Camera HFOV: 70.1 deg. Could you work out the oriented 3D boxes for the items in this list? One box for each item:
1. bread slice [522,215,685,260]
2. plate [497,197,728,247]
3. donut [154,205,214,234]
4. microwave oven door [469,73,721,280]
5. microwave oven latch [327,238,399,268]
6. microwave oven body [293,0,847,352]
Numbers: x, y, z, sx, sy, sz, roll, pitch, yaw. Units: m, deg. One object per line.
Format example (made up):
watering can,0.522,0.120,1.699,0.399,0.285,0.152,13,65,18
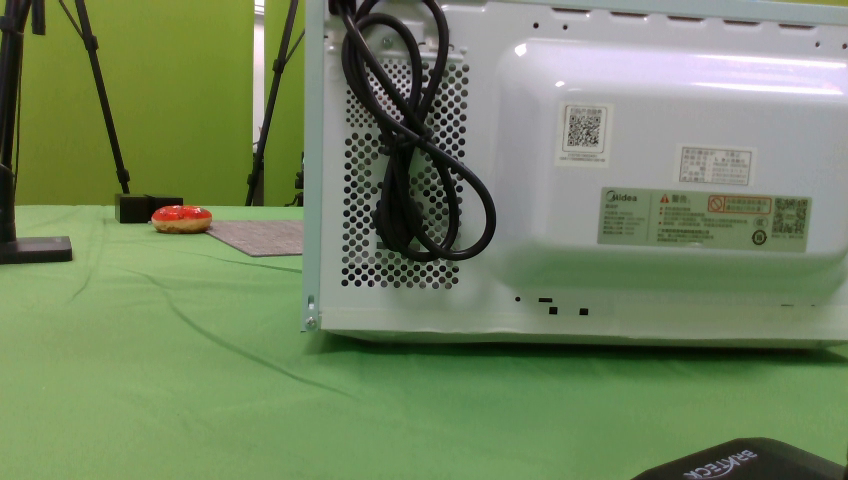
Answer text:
bread slice,0.172,-0.002,0.564,0.131,0.019,0.105,-14,-6,44
plate,0.173,-0.013,0.574,0.208,0.039,0.207,1,-1,0
donut,-0.426,-0.037,1.075,0.099,0.048,0.099,2,12,0
microwave oven door,0.208,-0.092,0.830,0.039,0.243,0.354,-5,10,-44
microwave oven latch,-0.069,0.015,0.694,0.079,0.029,0.030,3,7,-3
microwave oven body,0.122,-0.055,0.550,0.442,0.260,0.325,3,7,-5
